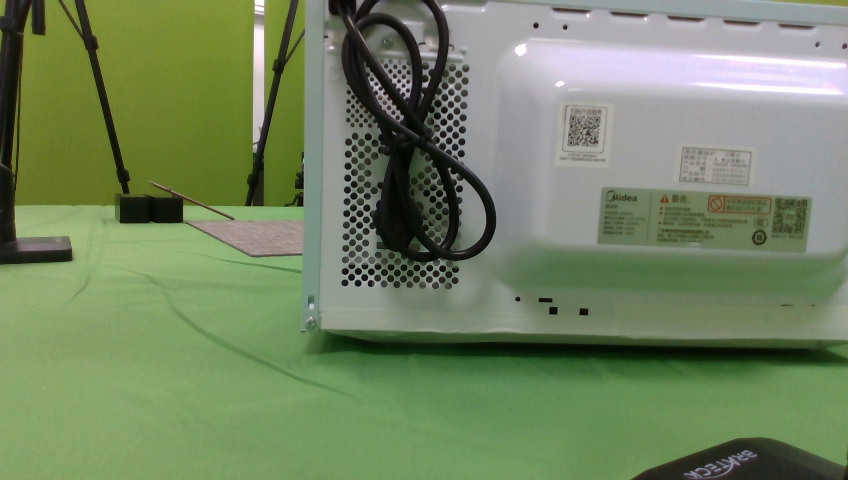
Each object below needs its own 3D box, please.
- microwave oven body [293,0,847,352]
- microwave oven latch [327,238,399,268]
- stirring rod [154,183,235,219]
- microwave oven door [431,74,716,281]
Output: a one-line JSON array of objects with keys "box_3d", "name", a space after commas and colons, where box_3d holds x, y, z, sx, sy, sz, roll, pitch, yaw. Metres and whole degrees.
[{"box_3d": [0.122, -0.055, 0.550, 0.442, 0.260, 0.325, 3, 7, -5], "name": "microwave oven body"}, {"box_3d": [-0.069, 0.015, 0.694, 0.079, 0.029, 0.030, 3, 7, -3], "name": "microwave oven latch"}, {"box_3d": [-0.472, -0.079, 1.252, 0.177, 0.006, 0.014, 27, 4, -35], "name": "stirring rod"}, {"box_3d": [0.178, -0.089, 0.792, 0.354, 0.243, 0.039, 6, 8, 28], "name": "microwave oven door"}]
